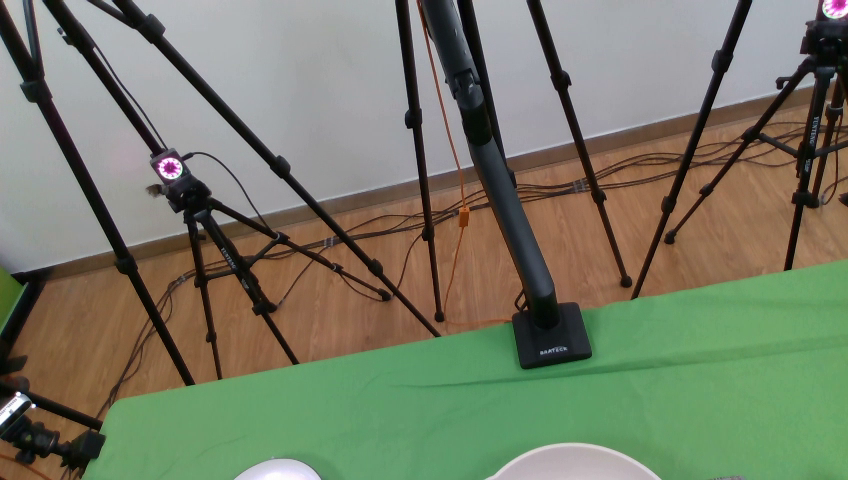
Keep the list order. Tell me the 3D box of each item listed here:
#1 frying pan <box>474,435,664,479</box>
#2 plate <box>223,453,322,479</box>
[{"bbox_3d":[0.121,0.454,0.712,0.304,0.104,0.487,24,50,37],"label":"frying pan"},{"bbox_3d":[-0.241,0.430,0.920,0.207,0.039,0.205,-10,45,10],"label":"plate"}]
